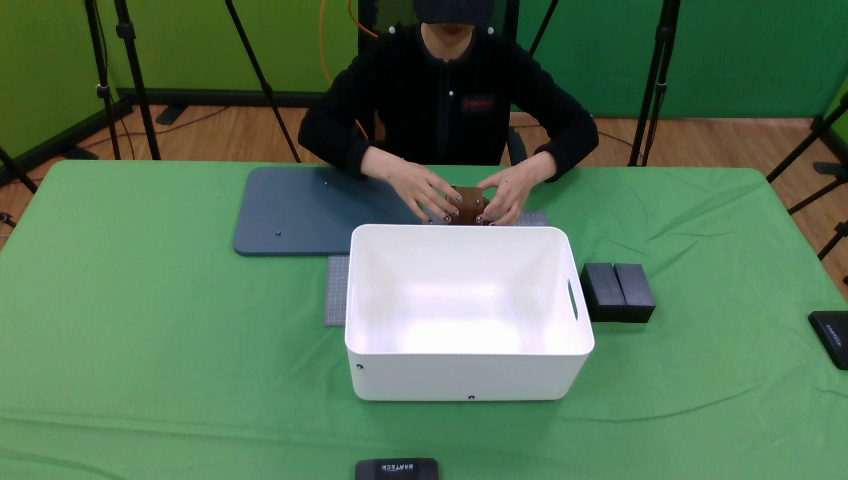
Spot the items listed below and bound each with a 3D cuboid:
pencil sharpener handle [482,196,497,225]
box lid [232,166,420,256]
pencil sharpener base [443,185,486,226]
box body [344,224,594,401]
[{"bbox_3d":[0.130,-0.056,1.182,0.031,0.068,0.036,2,45,-3],"label":"pencil sharpener handle"},{"bbox_3d":[-0.191,-0.066,1.255,0.372,0.015,0.261,-1,46,-4],"label":"box lid"},{"bbox_3d":[0.078,-0.049,1.188,0.077,0.107,0.061,2,46,-3],"label":"pencil sharpener base"},{"bbox_3d":[0.060,0.120,0.988,0.364,0.161,0.252,1,47,-4],"label":"box body"}]
